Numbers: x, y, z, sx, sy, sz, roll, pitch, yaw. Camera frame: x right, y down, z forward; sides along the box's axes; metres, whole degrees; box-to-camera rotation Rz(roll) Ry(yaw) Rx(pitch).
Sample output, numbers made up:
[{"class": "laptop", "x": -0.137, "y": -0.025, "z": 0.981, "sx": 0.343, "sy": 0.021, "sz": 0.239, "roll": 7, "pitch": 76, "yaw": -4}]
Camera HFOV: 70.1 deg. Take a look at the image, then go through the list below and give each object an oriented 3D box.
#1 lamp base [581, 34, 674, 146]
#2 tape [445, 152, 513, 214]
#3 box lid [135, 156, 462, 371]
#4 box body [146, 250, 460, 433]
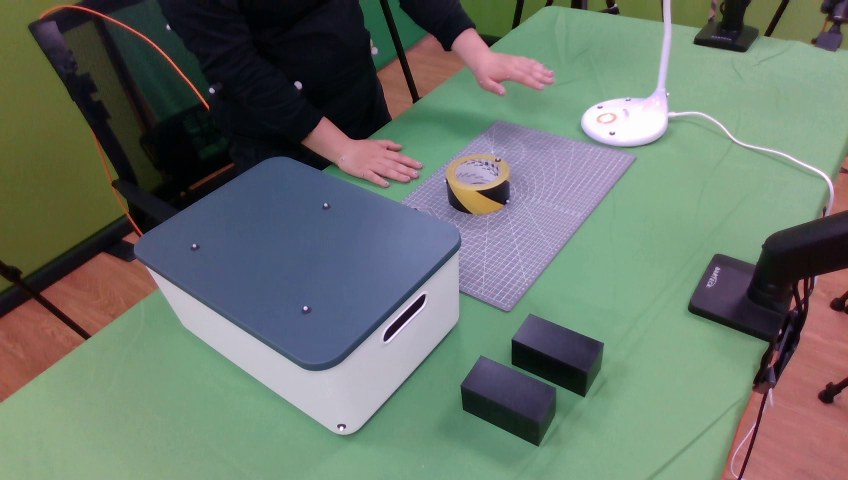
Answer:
[{"class": "lamp base", "x": 0.392, "y": -0.291, "z": 1.129, "sx": 0.180, "sy": 0.181, "sz": 0.159, "roll": -11, "pitch": 41, "yaw": -8}, {"class": "tape", "x": 0.095, "y": -0.099, "z": 1.043, "sx": 0.117, "sy": 0.053, "sz": 0.116, "roll": -4, "pitch": 41, "yaw": 4}, {"class": "box lid", "x": -0.162, "y": 0.004, "z": 0.765, "sx": 0.368, "sy": 0.015, "sz": 0.264, "roll": 23, "pitch": 49, "yaw": 31}, {"class": "box body", "x": -0.156, "y": 0.059, "z": 0.815, "sx": 0.361, "sy": 0.161, "sz": 0.255, "roll": 24, "pitch": 49, "yaw": 31}]
